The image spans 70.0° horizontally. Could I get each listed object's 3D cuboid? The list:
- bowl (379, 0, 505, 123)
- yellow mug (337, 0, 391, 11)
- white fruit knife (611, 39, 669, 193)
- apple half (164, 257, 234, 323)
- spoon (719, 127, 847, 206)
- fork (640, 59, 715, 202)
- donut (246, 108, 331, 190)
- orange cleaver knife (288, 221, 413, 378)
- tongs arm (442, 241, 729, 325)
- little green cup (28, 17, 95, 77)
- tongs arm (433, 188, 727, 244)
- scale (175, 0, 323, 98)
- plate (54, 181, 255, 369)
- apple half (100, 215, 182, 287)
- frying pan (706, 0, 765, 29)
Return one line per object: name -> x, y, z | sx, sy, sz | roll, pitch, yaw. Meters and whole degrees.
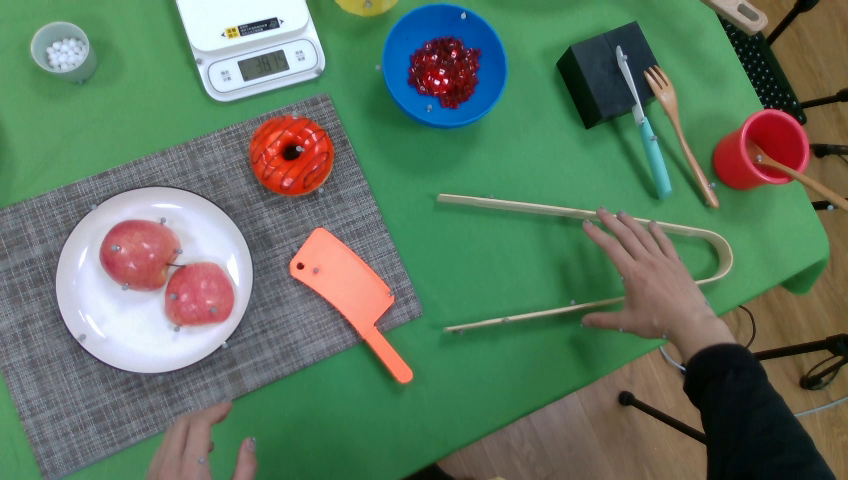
bowl -> 0.017, -0.207, 0.742 | 0.152, 0.077, 0.151 | 1, 83, -9
yellow mug -> -0.089, -0.355, 0.751 | 0.131, 0.064, 0.100 | 34, 79, -2
white fruit knife -> 0.275, -0.156, 0.774 | 0.016, 0.027, 0.208 | -26, 102, -11
apple half -> -0.256, 0.055, 0.676 | 0.081, 0.033, 0.081 | 0, 86, -6
spoon -> 0.453, -0.093, 0.761 | 0.041, 0.022, 0.191 | -29, 43, -12
fork -> 0.334, -0.140, 0.789 | 0.028, 0.018, 0.208 | -33, 104, -13
donut -> -0.159, -0.107, 0.715 | 0.099, 0.048, 0.099 | 1, 84, -7
orange cleaver knife -> -0.074, 0.070, 0.718 | 0.077, 0.012, 0.211 | -42, 89, -17
tongs arm -> 0.208, 0.052, 0.759 | 0.386, 0.026, 0.050 | -8, 79, -10
little green cup -> -0.414, -0.219, 0.698 | 0.062, 0.038, 0.061 | 1, 82, -8
tongs arm -> 0.202, -0.034, 0.774 | 0.388, 0.028, 0.028 | 7, 73, -8
scale -> -0.221, -0.285, 0.739 | 0.149, 0.031, 0.200 | -19, 86, -10
plate -> -0.295, 0.038, 0.679 | 0.209, 0.038, 0.208 | 1, 82, -8
apple half -> -0.314, 0.008, 0.664 | 0.075, 0.053, 0.080 | 27, 79, -1
frying pan -> 0.234, -0.423, 0.790 | 0.487, 0.103, 0.306 | 38, 80, 6
